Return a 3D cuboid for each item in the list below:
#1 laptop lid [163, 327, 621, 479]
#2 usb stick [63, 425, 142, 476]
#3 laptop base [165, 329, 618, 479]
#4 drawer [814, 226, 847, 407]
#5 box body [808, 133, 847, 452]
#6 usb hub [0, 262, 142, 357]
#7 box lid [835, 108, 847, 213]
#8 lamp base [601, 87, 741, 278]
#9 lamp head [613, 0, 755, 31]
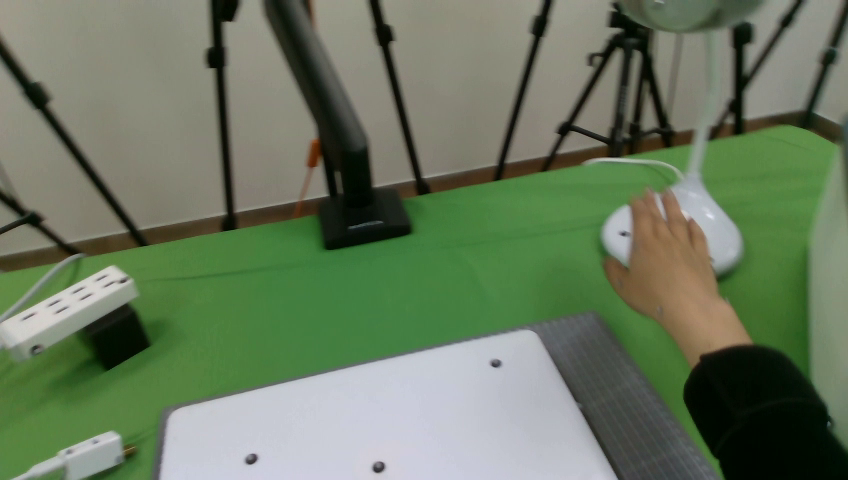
[{"bbox_3d":[-0.033,0.183,0.489,0.357,0.013,0.239,-10,37,-7],"label":"laptop lid"},{"bbox_3d":[-0.279,0.181,0.529,0.021,0.027,0.059,1,7,42],"label":"usb stick"},{"bbox_3d":[-0.033,0.191,0.498,0.355,0.023,0.233,-11,38,-9],"label":"laptop base"},{"bbox_3d":[0.476,0.076,0.545,0.193,0.074,0.211,9,34,22],"label":"drawer"},{"bbox_3d":[0.496,0.041,0.529,0.253,0.162,0.362,12,37,23],"label":"box body"},{"bbox_3d":[-0.363,0.069,0.625,0.049,0.025,0.125,24,44,33],"label":"usb hub"},{"bbox_3d":[0.484,-0.020,0.476,0.262,0.015,0.370,11,38,23],"label":"box lid"},{"bbox_3d":[0.299,-0.076,0.707,0.160,0.182,0.178,12,36,23],"label":"lamp base"},{"bbox_3d":[0.219,-0.249,0.495,0.112,0.113,0.122,9,76,19],"label":"lamp head"}]
